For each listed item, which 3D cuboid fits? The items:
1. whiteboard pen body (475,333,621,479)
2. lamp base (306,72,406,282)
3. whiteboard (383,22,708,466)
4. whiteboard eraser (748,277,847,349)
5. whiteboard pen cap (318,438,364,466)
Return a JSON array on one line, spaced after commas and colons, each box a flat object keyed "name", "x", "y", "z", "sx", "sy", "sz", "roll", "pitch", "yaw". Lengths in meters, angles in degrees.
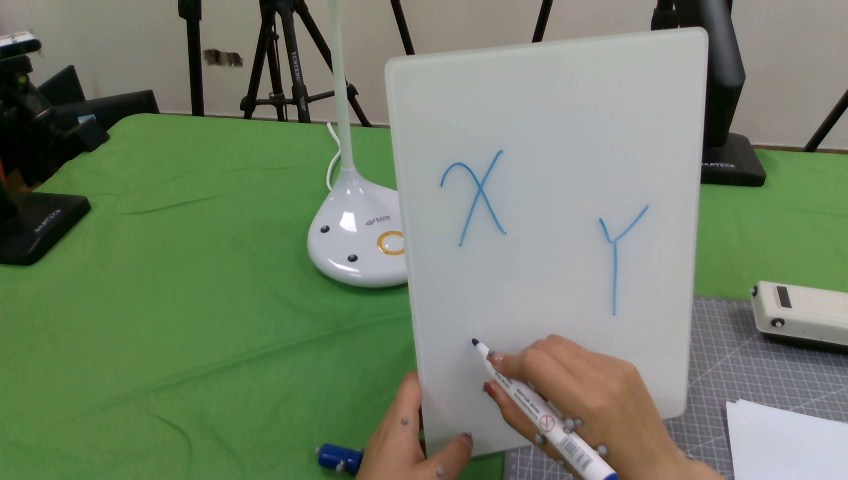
[{"name": "whiteboard pen body", "x": 0.072, "y": 0.103, "z": 0.388, "sx": 0.017, "sy": 0.017, "sz": 0.139, "roll": -21, "pitch": 41, "yaw": -22}, {"name": "lamp base", "x": -0.061, "y": -0.075, "z": 0.639, "sx": 0.161, "sy": 0.182, "sz": 0.177, "roll": -27, "pitch": 43, "yaw": -29}, {"name": "whiteboard", "x": 0.085, "y": -0.005, "z": 0.494, "sx": 0.217, "sy": 0.307, "sz": 0.142, "roll": -8, "pitch": 20, "yaw": -7}, {"name": "whiteboard eraser", "x": 0.361, "y": 0.069, "z": 0.554, "sx": 0.112, "sy": 0.042, "sz": 0.055, "roll": 9, "pitch": 41, "yaw": 13}, {"name": "whiteboard pen cap", "x": -0.064, "y": 0.164, "z": 0.470, "sx": 0.033, "sy": 0.018, "sz": 0.018, "roll": 6, "pitch": 39, "yaw": 11}]
